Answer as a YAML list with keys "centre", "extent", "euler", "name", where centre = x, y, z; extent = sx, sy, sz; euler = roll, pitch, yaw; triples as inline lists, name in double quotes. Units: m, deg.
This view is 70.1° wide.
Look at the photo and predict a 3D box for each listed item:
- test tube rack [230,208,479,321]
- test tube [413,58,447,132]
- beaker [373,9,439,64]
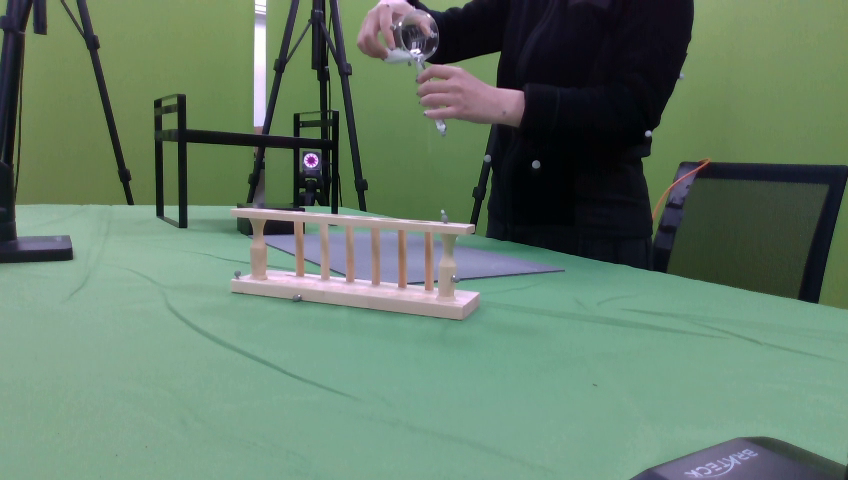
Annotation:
- centre: [-0.069, 0.017, 0.598]
  extent: [0.242, 0.085, 0.067]
  euler: [5, 8, 18]
  name: "test tube rack"
- centre: [0.009, -0.225, 0.937]
  extent: [0.017, 0.149, 0.017]
  euler: [-13, -29, -7]
  name: "test tube"
- centre: [-0.034, -0.330, 1.004]
  extent: [0.074, 0.084, 0.100]
  euler: [-6, 11, -33]
  name: "beaker"
